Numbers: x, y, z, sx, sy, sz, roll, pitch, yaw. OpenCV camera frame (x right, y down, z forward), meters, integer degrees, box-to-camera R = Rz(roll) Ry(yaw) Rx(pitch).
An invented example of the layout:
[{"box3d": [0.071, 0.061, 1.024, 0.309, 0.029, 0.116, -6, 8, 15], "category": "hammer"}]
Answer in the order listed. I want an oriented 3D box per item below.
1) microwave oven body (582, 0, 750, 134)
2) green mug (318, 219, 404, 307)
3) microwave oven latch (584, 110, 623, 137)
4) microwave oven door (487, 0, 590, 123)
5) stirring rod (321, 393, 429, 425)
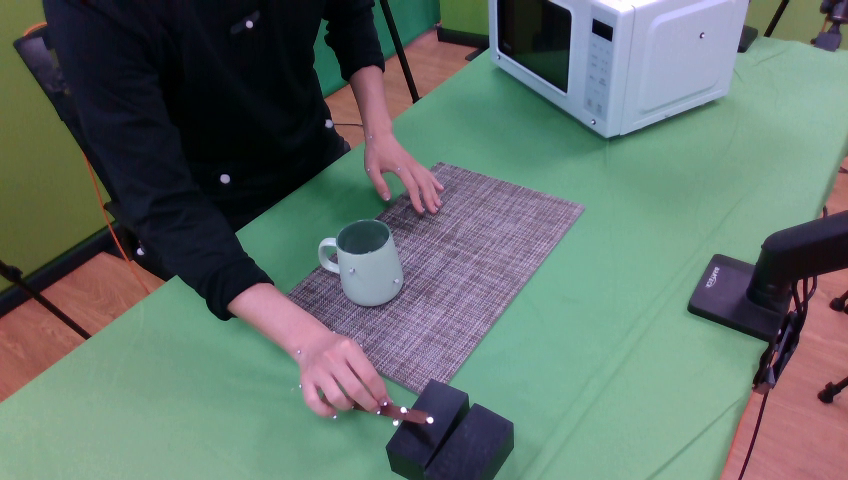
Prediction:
[{"box3d": [0.382, -0.445, 1.246, 0.327, 0.261, 0.437, -22, 42, -16], "category": "microwave oven body"}, {"box3d": [-0.095, 0.032, 0.877, 0.125, 0.105, 0.092, 8, 43, 17], "category": "green mug"}, {"box3d": [0.337, -0.222, 1.142, 0.030, 0.029, 0.078, -21, 42, -14], "category": "microwave oven latch"}, {"box3d": [0.232, -0.420, 1.231, 0.039, 0.245, 0.352, -22, 43, -16], "category": "microwave oven door"}, {"box3d": [-0.062, 0.198, 0.711, 0.175, 0.006, 0.014, -3, 60, 40], "category": "stirring rod"}]
